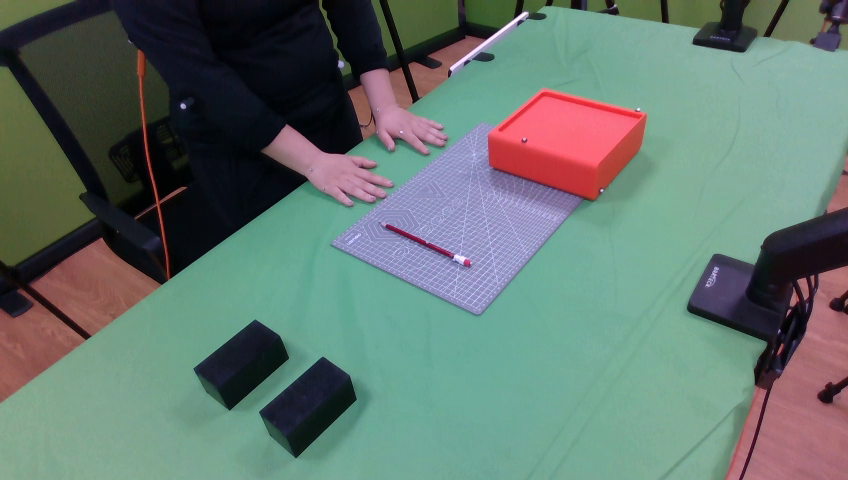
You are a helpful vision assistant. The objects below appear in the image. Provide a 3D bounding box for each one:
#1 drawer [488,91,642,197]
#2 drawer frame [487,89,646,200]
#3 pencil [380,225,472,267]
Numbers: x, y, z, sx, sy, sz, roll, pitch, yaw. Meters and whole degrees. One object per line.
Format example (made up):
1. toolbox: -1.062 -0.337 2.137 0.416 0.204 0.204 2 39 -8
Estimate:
1. drawer: 0.254 -0.179 1.095 0.210 0.073 0.195 24 48 30
2. drawer frame: 0.257 -0.180 1.094 0.212 0.083 0.202 23 48 30
3. pencil: -0.002 0.006 0.970 0.192 0.012 0.012 23 49 34
